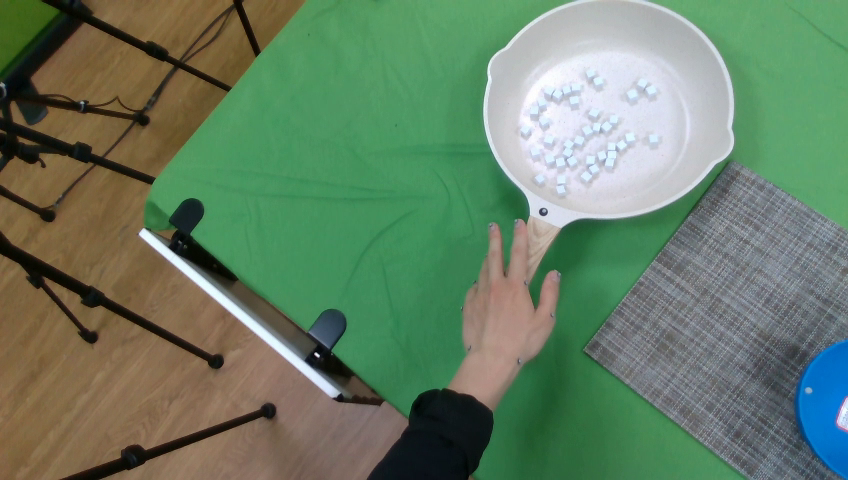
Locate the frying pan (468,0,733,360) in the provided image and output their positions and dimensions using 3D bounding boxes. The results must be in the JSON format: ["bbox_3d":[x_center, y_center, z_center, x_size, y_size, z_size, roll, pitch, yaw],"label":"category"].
[{"bbox_3d":[0.171,-0.075,0.729,0.305,0.103,0.486,26,73,16],"label":"frying pan"}]

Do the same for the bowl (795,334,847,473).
[{"bbox_3d":[0.454,0.171,0.623,0.151,0.077,0.150,-3,75,10],"label":"bowl"}]
